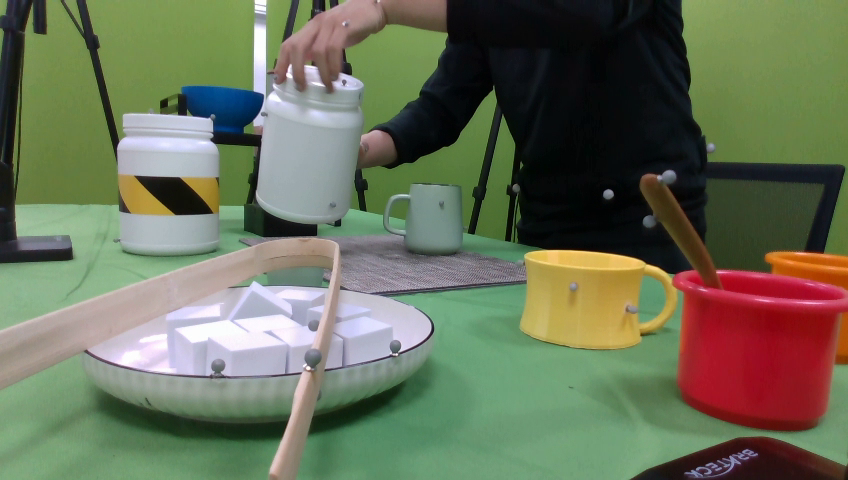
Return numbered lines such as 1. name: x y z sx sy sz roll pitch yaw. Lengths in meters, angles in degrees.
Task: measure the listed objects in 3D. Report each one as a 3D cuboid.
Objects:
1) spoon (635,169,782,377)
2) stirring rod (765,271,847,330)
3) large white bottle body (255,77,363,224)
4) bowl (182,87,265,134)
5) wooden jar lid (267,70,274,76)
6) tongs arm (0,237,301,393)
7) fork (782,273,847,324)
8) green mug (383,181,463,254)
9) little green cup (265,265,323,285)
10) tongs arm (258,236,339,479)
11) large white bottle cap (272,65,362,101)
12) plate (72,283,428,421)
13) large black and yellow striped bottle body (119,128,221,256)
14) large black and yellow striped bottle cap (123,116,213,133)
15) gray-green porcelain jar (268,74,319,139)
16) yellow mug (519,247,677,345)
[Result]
1. spoon: 0.161 0.026 0.346 0.021 0.194 0.041 -51 32 -19
2. stirring rod: 0.351 0.020 0.481 0.176 0.006 0.014 -40 -8 17
3. large white bottle body: -0.155 -0.129 0.820 0.131 0.184 0.130 11 25 -5
4. bowl: -0.383 -0.244 1.158 0.151 0.077 0.151 2 7 0
5. wooden jar lid: -0.275 -0.339 1.271 0.108 0.020 0.108 5 6 0
6. tongs arm: -0.158 0.038 0.347 0.028 0.028 0.388 -3 8 11
7. fork: 0.332 0.018 0.443 0.028 0.018 0.207 -2 -35 -16
8. green mug: -0.001 -0.036 0.922 0.126 0.105 0.092 0 8 -15
9. little green cup: -0.134 0.033 0.627 0.061 0.038 0.061 3 7 0
10. tongs arm: -0.074 0.040 0.345 0.051 0.026 0.384 -2 9 -3
11. large white bottle cap: -0.137 -0.204 0.785 0.115 0.018 0.114 11 24 -5
12. plate: -0.102 0.066 0.381 0.208 0.039 0.207 3 7 0
13. large black and yellow striped bottle body: -0.355 -0.076 0.850 0.131 0.184 0.130 2 8 0
14. large black and yellow striped bottle cap: -0.353 -0.159 0.838 0.115 0.019 0.115 2 6 0
15. gray-green porcelain jar: -0.277 -0.279 1.280 0.106 0.126 0.106 2 7 0
16. yellow mug: 0.148 0.045 0.513 0.131 0.064 0.100 3 7 0
